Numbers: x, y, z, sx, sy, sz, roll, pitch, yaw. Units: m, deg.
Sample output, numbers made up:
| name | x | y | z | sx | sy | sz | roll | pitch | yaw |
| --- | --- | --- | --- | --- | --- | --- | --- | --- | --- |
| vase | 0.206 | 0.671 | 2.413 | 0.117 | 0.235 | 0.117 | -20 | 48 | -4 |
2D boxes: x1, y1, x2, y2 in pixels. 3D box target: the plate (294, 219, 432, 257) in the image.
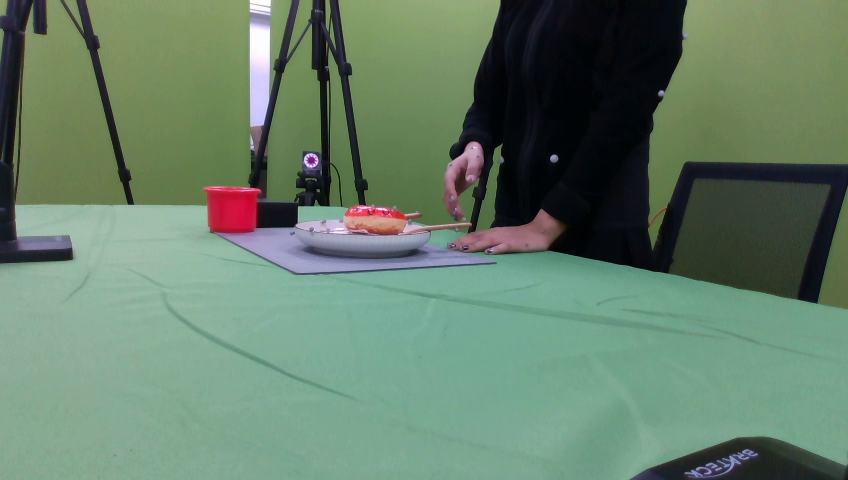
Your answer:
| name | x | y | z | sx | sy | sz | roll | pitch | yaw |
| --- | --- | --- | --- | --- | --- | --- | --- | --- | --- |
| plate | -0.092 | -0.004 | 0.923 | 0.209 | 0.038 | 0.209 | 2 | 7 | 0 |

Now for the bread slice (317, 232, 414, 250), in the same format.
| name | x | y | z | sx | sy | sz | roll | pitch | yaw |
| --- | --- | --- | --- | --- | --- | --- | --- | --- | --- |
| bread slice | -0.093 | 0.000 | 0.915 | 0.132 | 0.019 | 0.104 | 0 | 6 | -26 |

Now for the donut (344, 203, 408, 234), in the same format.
| name | x | y | z | sx | sy | sz | roll | pitch | yaw |
| --- | --- | --- | --- | --- | --- | --- | --- | --- | --- |
| donut | -0.074 | -0.031 | 0.931 | 0.099 | 0.048 | 0.099 | 4 | 3 | 0 |

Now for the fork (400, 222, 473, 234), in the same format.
| name | x | y | z | sx | sy | sz | roll | pitch | yaw |
| --- | --- | --- | --- | --- | --- | --- | --- | --- | --- |
| fork | -0.016 | -0.007 | 0.887 | 0.208 | 0.018 | 0.028 | -14 | 0 | -27 |

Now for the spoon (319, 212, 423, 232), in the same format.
| name | x | y | z | sx | sy | sz | roll | pitch | yaw |
| --- | --- | --- | --- | --- | --- | --- | --- | --- | --- |
| spoon | -0.083 | -0.027 | 1.005 | 0.194 | 0.021 | 0.041 | -17 | 21 | -30 |
